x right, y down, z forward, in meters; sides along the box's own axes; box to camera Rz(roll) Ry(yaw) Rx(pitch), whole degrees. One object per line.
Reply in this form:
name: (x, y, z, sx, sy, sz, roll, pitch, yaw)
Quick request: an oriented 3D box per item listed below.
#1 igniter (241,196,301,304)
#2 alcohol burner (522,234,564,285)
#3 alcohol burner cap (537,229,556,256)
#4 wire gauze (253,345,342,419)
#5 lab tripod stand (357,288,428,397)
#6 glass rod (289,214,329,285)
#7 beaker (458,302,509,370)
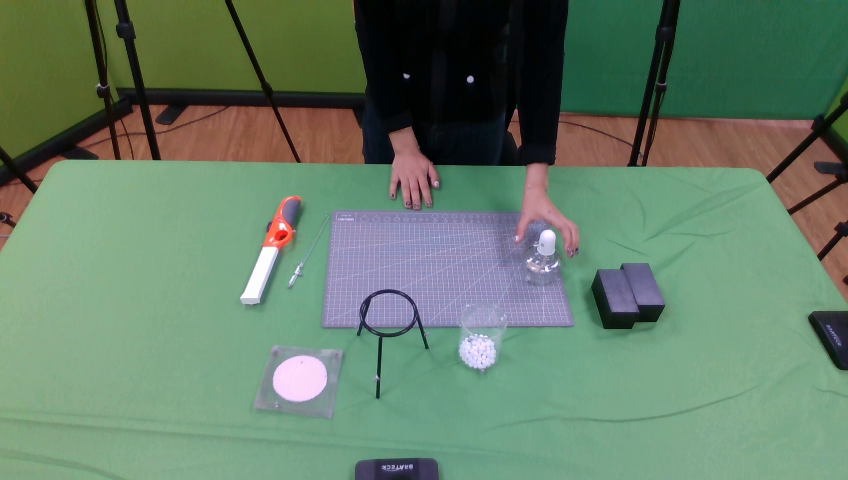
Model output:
igniter: (-0.290, 0.010, 1.164, 0.057, 0.025, 0.275, 0, 45, 10)
alcohol burner: (0.223, 0.027, 1.121, 0.078, 0.119, 0.077, 2, 48, -2)
alcohol burner cap: (0.223, 0.001, 1.095, 0.034, 0.048, 0.033, -1, 43, 1)
wire gauze: (-0.200, 0.224, 0.979, 0.125, 0.011, 0.121, 7, 47, 0)
lab tripod stand: (-0.058, 0.155, 0.967, 0.148, 0.132, 0.147, 3, 47, -3)
glass rod: (-0.221, 0.015, 1.179, 0.008, 0.008, 0.199, 12, 46, 8)
beaker: (0.092, 0.159, 0.999, 0.083, 0.101, 0.074, 35, 53, 28)
